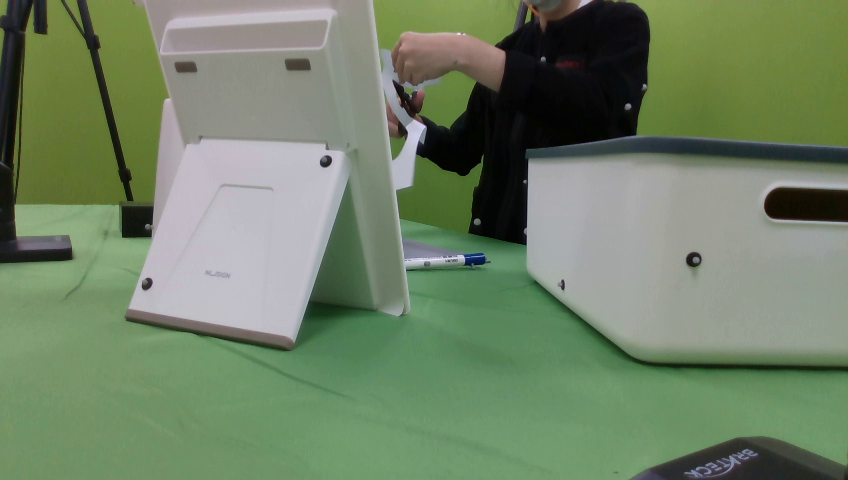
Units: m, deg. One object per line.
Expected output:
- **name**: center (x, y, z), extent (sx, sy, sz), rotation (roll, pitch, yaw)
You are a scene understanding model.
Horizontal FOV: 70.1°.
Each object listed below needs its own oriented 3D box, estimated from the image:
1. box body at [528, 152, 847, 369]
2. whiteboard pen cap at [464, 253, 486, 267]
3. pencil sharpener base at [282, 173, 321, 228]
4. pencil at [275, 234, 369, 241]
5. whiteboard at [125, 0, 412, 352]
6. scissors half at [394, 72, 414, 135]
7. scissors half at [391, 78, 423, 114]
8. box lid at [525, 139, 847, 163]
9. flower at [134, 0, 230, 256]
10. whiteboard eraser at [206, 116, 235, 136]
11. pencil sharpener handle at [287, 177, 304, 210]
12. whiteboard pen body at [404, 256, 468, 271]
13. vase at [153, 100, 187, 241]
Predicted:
- **box body**: center (0.258, -0.005, 0.591), extent (0.254, 0.160, 0.363), rotation (2, 7, -4)
- **whiteboard pen cap**: center (0.066, 0.027, 0.818), extent (0.033, 0.018, 0.018), rotation (-5, 10, -24)
- **pencil sharpener base**: center (-0.247, -0.080, 1.212), extent (0.061, 0.107, 0.076), rotation (-2, 5, -28)
- **pencil**: center (-0.169, -0.006, 1.036), extent (0.195, 0.012, 0.012), rotation (-2, 8, -45)
- **whiteboard**: center (-0.151, -0.049, 0.472), extent (0.216, 0.305, 0.144), rotation (6, 27, 24)
- **scissors half**: center (-0.039, -0.239, 1.067), extent (0.013, 0.040, 0.175), rotation (23, -21, 16)
- **scissors half**: center (-0.030, -0.259, 1.071), extent (0.013, 0.040, 0.175), rotation (18, 4, 15)
- **box lid**: center (0.261, -0.078, 0.580), extent (0.264, 0.015, 0.371), rotation (2, 7, -4)
- **flower**: center (-0.282, -0.147, 0.713), extent (0.038, 0.362, 0.044), rotation (-23, 24, -31)
- **whiteboard eraser**: center (-0.450, -0.252, 1.335), extent (0.056, 0.042, 0.112), rotation (1, 7, -22)
- **pencil sharpener handle**: center (-0.269, -0.096, 1.257), extent (0.036, 0.067, 0.030), rotation (-8, 8, -27)
- **whiteboard pen body**: center (0.013, 0.030, 0.792), extent (0.141, 0.017, 0.017), rotation (-2, 9, -24)
- **vase**: center (-0.278, -0.066, 0.736), extent (0.098, 0.200, 0.098), rotation (2, 9, 0)
